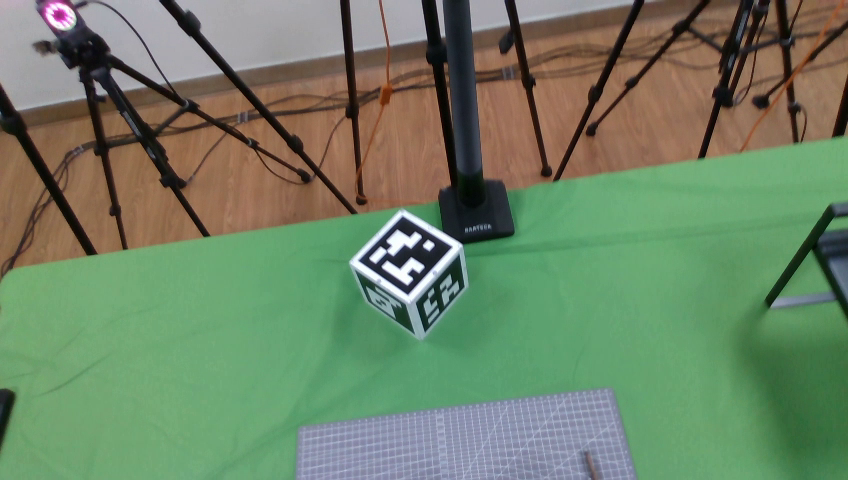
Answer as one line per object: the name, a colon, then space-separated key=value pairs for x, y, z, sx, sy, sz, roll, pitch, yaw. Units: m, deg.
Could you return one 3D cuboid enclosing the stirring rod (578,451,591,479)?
stirring rod: x=0.222 y=0.354 z=0.762 sx=0.006 sy=0.014 sz=0.174 roll=-8 pitch=55 yaw=-4
